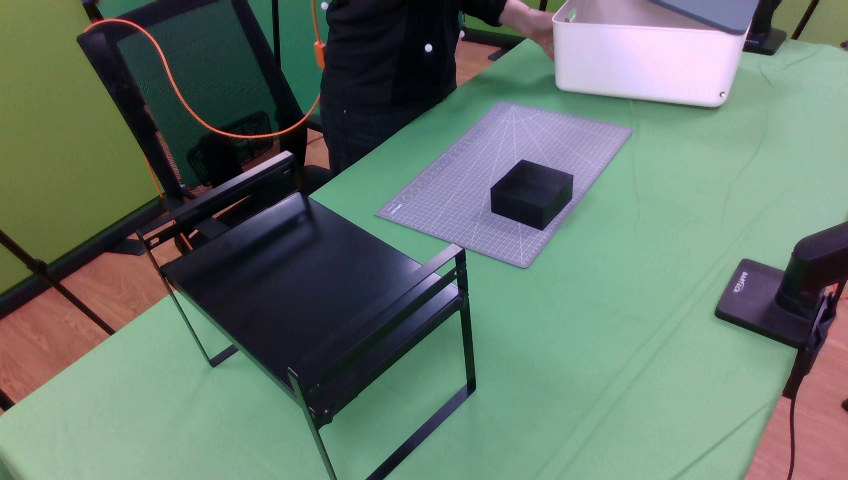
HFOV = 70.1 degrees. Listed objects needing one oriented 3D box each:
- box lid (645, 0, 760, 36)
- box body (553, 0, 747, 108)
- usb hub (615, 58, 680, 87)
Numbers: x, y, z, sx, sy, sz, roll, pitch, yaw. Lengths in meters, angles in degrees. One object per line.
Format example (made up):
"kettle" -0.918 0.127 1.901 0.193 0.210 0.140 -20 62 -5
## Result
"box lid" 0.477 -0.518 1.203 0.370 0.015 0.264 28 46 13
"box body" 0.481 -0.420 1.281 0.362 0.161 0.254 15 44 24
"usb hub" 0.484 -0.364 1.311 0.124 0.025 0.049 22 46 27
